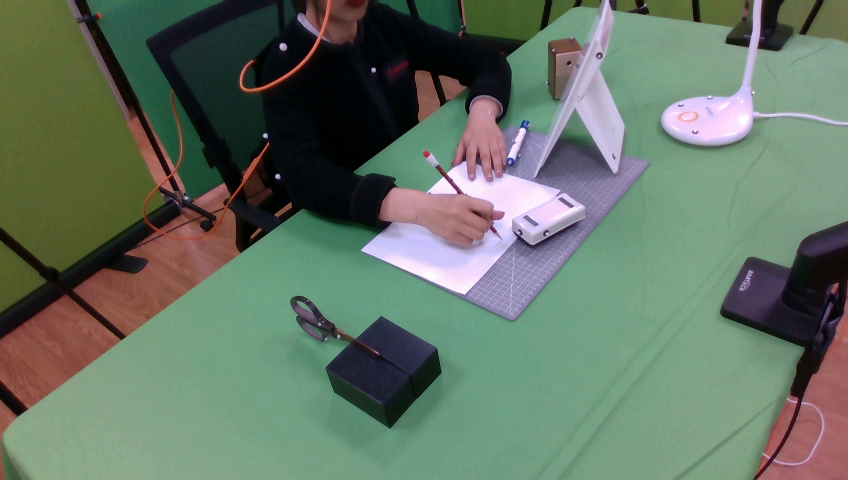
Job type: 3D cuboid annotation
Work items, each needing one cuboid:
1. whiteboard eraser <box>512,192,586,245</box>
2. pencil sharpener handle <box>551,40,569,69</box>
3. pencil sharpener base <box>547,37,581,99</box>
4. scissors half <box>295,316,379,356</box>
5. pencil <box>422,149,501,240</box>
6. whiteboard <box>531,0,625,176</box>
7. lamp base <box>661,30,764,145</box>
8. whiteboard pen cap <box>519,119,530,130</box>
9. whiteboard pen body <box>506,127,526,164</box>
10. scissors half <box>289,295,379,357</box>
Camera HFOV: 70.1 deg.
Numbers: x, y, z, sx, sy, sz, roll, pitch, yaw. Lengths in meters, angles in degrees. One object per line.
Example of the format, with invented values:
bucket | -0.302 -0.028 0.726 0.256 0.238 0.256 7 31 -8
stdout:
whiteboard eraser | 0.199 -0.032 0.962 0.113 0.042 0.055 -27 43 -20
pencil sharpener handle | 0.291 -0.409 1.321 0.036 0.068 0.030 2 40 -6
pencil sharpener base | 0.299 -0.368 1.290 0.061 0.107 0.076 -8 40 3
scissors half | -0.119 0.132 0.813 0.174 0.040 0.013 9 34 45
pencil | 0.061 -0.067 0.936 0.012 0.195 0.012 -37 21 17
whiteboard | 0.320 -0.258 1.050 0.144 0.306 0.217 22 45 5
lamp base | 0.535 -0.287 1.096 0.179 0.181 0.159 -10 40 -4
whiteboard pen cap | 0.199 -0.226 1.204 0.018 0.018 0.033 7 41 18
whiteboard pen body | 0.181 -0.189 1.162 0.017 0.017 0.140 8 42 19
scissors half | -0.122 0.114 0.803 0.174 0.040 0.013 26 50 32
